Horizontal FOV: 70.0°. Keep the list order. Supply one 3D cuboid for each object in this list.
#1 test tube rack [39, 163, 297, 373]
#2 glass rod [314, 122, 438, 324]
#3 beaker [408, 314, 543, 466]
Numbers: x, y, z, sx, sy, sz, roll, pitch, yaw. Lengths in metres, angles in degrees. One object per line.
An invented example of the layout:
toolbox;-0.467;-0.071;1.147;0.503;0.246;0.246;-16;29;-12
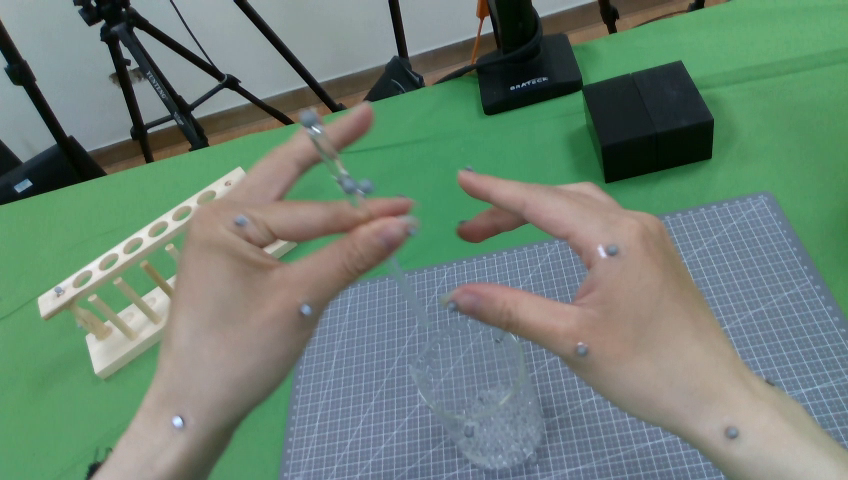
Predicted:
test tube rack;-0.268;0.028;0.649;0.242;0.086;0.066;-36;47;-11
glass rod;-0.015;0.006;0.303;0.008;0.201;0.008;-6;61;11
beaker;0.041;0.112;0.434;0.083;0.101;0.073;-2;50;22
